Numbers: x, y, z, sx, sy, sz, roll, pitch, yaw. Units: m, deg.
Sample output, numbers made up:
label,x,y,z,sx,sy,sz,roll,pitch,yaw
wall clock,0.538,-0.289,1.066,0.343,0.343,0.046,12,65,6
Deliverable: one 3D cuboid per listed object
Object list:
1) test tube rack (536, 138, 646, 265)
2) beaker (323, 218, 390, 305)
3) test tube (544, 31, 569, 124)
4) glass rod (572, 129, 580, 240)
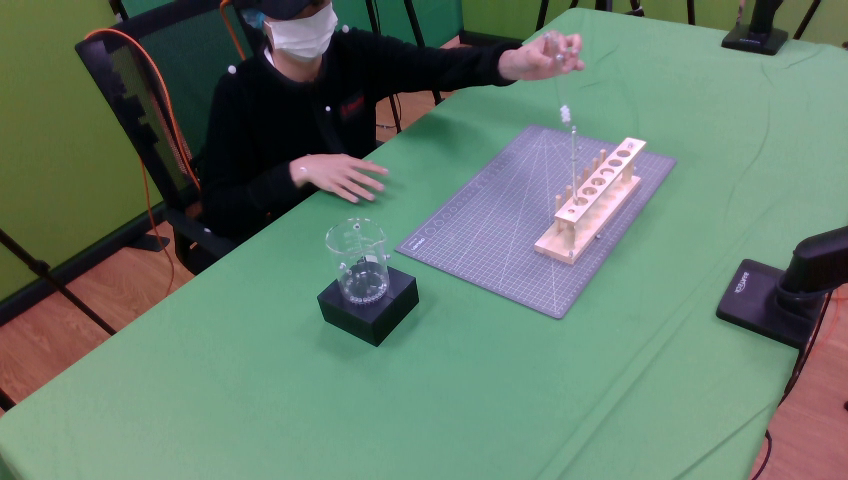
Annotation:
label,x,y,z,sx,sy,sz,roll,pitch,yaw
test tube rack,0.268,-0.071,0.964,0.066,0.085,0.243,23,49,32
beaker,-0.084,0.031,0.813,0.084,0.101,0.073,-1,41,8
test tube,0.204,-0.246,0.927,0.017,0.151,0.017,-14,35,10
glass rod,0.220,-0.074,0.871,0.008,0.201,0.008,-8,42,8
